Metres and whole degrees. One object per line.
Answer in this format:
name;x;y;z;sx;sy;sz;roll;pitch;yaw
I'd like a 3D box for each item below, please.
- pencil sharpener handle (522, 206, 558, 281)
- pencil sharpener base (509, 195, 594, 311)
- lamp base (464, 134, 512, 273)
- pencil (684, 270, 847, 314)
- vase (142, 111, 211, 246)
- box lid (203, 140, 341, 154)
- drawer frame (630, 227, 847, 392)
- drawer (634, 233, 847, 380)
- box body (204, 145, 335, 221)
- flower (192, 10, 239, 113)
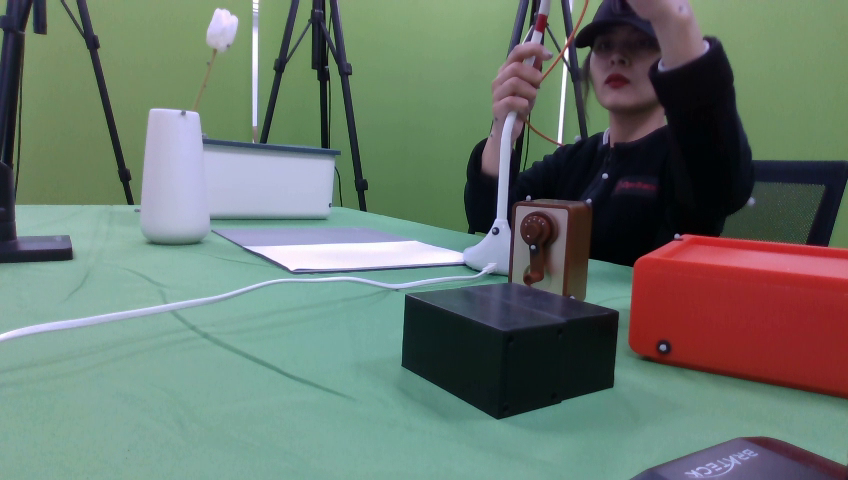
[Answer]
pencil sharpener handle;0.102;0.003;0.555;0.036;0.067;0.031;0;6;31
pencil sharpener base;0.126;0.011;0.601;0.061;0.107;0.077;7;9;30
lamp base;0.131;-0.052;0.807;0.160;0.180;0.180;6;13;27
pencil;0.308;0.046;0.516;0.194;0.012;0.012;12;5;-11
vase;-0.378;-0.093;0.920;0.098;0.200;0.098;2;9;0
box lid;-0.396;-0.213;1.373;0.373;0.015;0.262;-1;9;-29
drawer frame;0.292;0.043;0.484;0.201;0.082;0.214;7;9;29
drawer;0.292;0.045;0.488;0.193;0.073;0.213;7;10;30
box body;-0.411;-0.135;1.386;0.366;0.160;0.253;-2;9;-29
flower;-0.354;-0.174;0.915;0.038;0.361;0.044;18;-3;12
